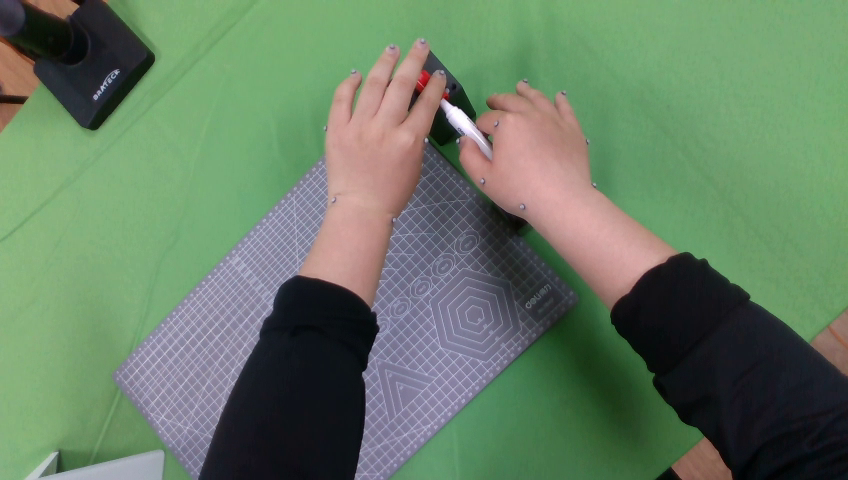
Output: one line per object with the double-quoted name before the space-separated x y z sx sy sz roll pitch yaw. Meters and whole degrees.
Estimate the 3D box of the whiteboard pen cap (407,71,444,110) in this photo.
"whiteboard pen cap" 0.002 -0.131 0.530 0.017 0.017 0.032 -42 86 8

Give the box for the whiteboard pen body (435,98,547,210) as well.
"whiteboard pen body" 0.053 -0.079 0.521 0.017 0.017 0.140 -45 82 7

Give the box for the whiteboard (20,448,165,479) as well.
"whiteboard" -0.443 0.325 0.595 0.143 0.307 0.217 7 90 32
